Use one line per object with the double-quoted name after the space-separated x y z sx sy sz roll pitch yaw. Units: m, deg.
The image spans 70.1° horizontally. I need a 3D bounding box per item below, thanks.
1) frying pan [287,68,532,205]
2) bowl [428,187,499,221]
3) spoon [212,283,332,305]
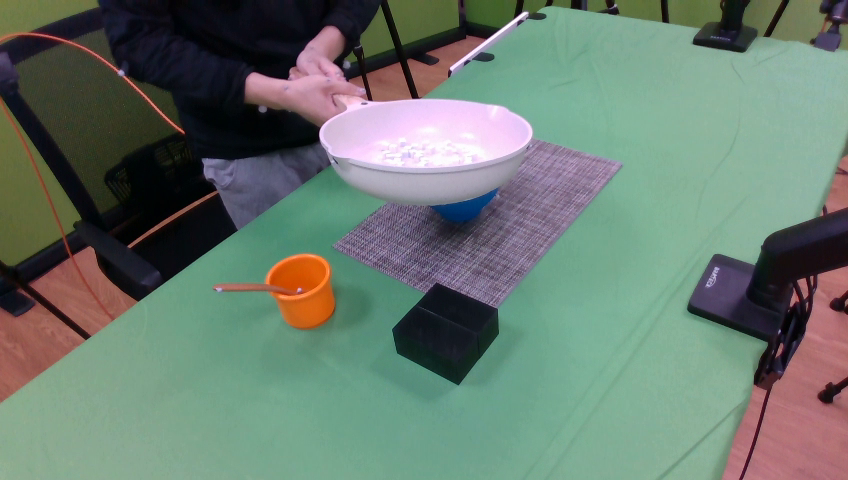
-0.065 -0.178 0.906 0.309 0.103 0.483 -22 44 -36 "frying pan"
0.057 -0.085 1.010 0.151 0.077 0.150 -4 41 4 "bowl"
-0.201 0.069 0.819 0.041 0.195 0.021 32 99 37 "spoon"
